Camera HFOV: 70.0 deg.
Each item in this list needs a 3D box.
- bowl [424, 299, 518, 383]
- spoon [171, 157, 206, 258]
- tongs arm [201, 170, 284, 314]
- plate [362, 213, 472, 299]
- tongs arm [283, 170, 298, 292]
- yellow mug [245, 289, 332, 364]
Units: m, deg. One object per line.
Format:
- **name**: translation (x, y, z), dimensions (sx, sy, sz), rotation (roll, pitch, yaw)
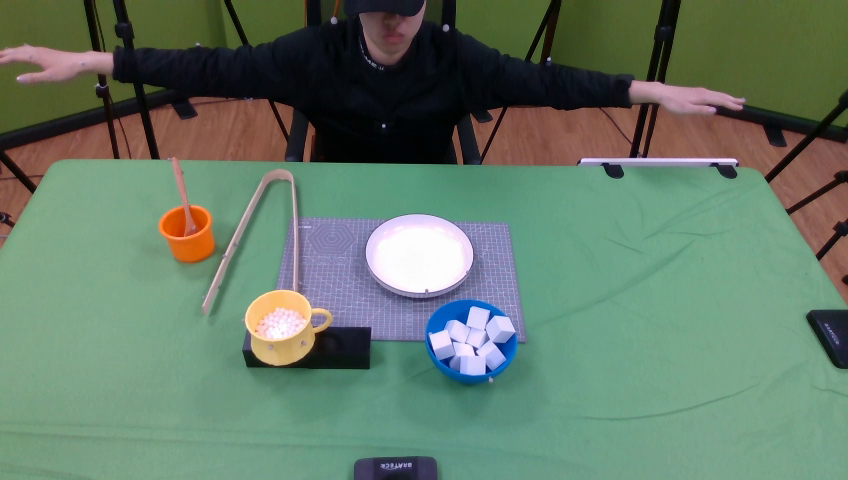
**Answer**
- **bowl**: translation (0.072, 0.179, 0.993), dimensions (0.151, 0.077, 0.150), rotation (3, 46, -3)
- **spoon**: translation (-0.444, -0.061, 1.133), dimensions (0.042, 0.194, 0.021), rotation (-12, 4, -20)
- **tongs arm**: translation (-0.342, -0.011, 1.172), dimensions (0.051, 0.026, 0.382), rotation (4, 44, 1)
- **plate**: translation (-0.014, 0.034, 1.150), dimensions (0.208, 0.039, 0.206), rotation (3, 46, -2)
- **tongs arm**: translation (-0.259, -0.008, 1.178), dimensions (0.028, 0.028, 0.385), rotation (-8, 46, -6)
- **yellow mug**: translation (-0.210, 0.133, 0.954), dimensions (0.131, 0.064, 0.099), rotation (-9, 48, -14)
